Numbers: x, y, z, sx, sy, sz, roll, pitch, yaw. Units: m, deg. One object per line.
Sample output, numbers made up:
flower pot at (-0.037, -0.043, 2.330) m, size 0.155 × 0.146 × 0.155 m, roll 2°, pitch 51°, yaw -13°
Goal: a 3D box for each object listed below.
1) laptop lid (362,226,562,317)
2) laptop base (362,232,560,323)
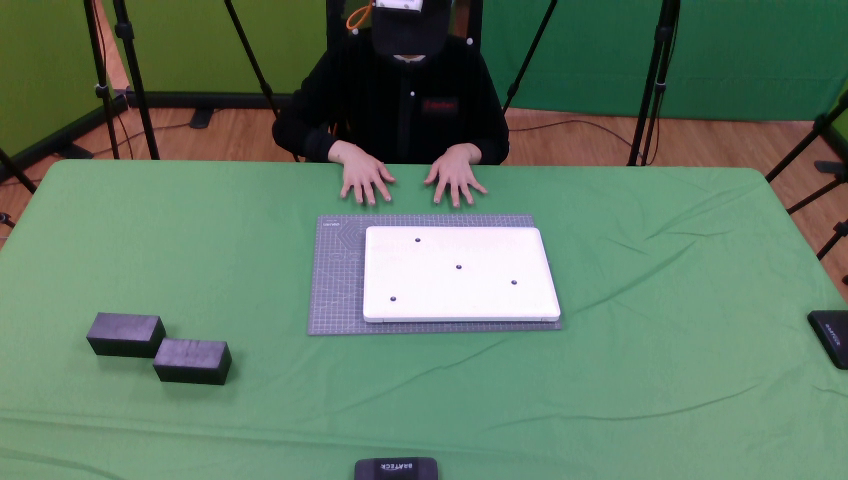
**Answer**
laptop lid at (0.064, 0.053, 1.136) m, size 0.357 × 0.013 × 0.240 m, roll 1°, pitch 44°, yaw -3°
laptop base at (0.064, 0.063, 1.143) m, size 0.355 × 0.023 × 0.234 m, roll 0°, pitch 43°, yaw -4°
